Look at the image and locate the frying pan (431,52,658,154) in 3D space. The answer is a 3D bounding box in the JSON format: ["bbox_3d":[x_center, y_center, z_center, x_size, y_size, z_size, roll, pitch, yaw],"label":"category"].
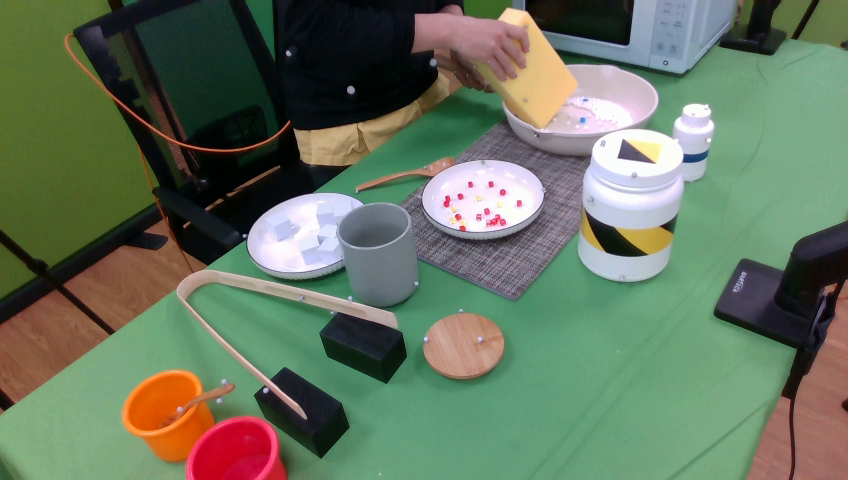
[{"bbox_3d":[0.216,-0.302,1.223,0.484,0.103,0.308,29,49,24],"label":"frying pan"}]

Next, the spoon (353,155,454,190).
[{"bbox_3d":[-0.038,-0.123,1.115,0.194,0.022,0.041,-12,58,-4],"label":"spoon"}]

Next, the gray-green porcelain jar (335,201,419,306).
[{"bbox_3d":[-0.064,0.024,0.872,0.106,0.127,0.105,-4,41,4],"label":"gray-green porcelain jar"}]

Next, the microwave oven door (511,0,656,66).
[{"bbox_3d":[0.351,-0.540,1.349,0.353,0.245,0.039,24,50,31],"label":"microwave oven door"}]

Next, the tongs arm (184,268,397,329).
[{"bbox_3d":[-0.202,0.084,0.848,0.382,0.027,0.051,11,45,35],"label":"tongs arm"}]

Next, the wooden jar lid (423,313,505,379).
[{"bbox_3d":[0.053,0.142,0.800,0.108,0.021,0.108,-5,39,4],"label":"wooden jar lid"}]

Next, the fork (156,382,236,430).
[{"bbox_3d":[-0.262,0.189,0.690,0.018,0.206,0.028,49,43,-7],"label":"fork"}]

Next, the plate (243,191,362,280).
[{"bbox_3d":[-0.188,-0.005,0.992,0.207,0.039,0.206,-4,41,4],"label":"plate"}]

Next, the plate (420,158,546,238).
[{"bbox_3d":[0.099,-0.067,1.017,0.209,0.038,0.208,-4,40,4],"label":"plate"}]

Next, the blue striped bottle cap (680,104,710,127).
[{"bbox_3d":[0.443,-0.205,0.989,0.044,0.021,0.044,-1,41,2],"label":"blue striped bottle cap"}]

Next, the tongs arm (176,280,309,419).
[{"bbox_3d":[-0.254,0.133,0.801,0.028,0.028,0.384,-41,41,-23],"label":"tongs arm"}]

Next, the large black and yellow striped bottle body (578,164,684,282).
[{"bbox_3d":[0.291,-0.046,0.859,0.131,0.185,0.130,-4,41,4],"label":"large black and yellow striped bottle body"}]

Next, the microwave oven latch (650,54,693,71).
[{"bbox_3d":[0.531,-0.386,1.301,0.078,0.029,0.030,26,51,33],"label":"microwave oven latch"}]

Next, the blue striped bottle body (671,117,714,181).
[{"bbox_3d":[0.449,-0.165,1.022,0.063,0.121,0.063,-5,41,4],"label":"blue striped bottle body"}]

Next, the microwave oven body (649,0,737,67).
[{"bbox_3d":[0.475,-0.602,1.411,0.438,0.261,0.327,23,50,32],"label":"microwave oven body"}]

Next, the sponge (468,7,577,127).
[{"bbox_3d":[0.193,-0.325,1.157,0.118,0.209,0.060,-52,40,1],"label":"sponge"}]

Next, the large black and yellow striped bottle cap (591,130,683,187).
[{"bbox_3d":[0.282,-0.111,0.803,0.115,0.019,0.114,-3,41,3],"label":"large black and yellow striped bottle cap"}]
